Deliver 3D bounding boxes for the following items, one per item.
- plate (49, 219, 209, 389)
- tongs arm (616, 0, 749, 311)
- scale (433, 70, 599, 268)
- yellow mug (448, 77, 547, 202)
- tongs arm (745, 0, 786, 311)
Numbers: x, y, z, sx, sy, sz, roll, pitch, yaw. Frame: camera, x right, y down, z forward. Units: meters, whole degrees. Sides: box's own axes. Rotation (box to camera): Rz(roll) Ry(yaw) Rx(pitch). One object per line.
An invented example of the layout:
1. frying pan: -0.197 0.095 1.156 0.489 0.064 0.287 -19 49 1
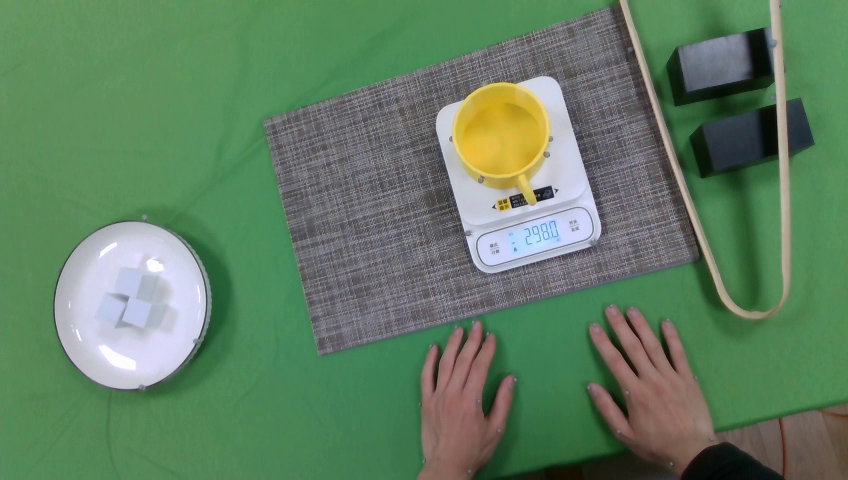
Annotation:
1. plate: -0.360 0.079 0.753 0.207 0.039 0.207 -1 86 9
2. tongs arm: 0.273 -0.107 0.660 0.028 0.028 0.386 -21 83 32
3. scale: 0.102 -0.080 0.685 0.148 0.031 0.200 -16 85 9
4. yellow mug: 0.086 -0.100 0.641 0.100 0.064 0.130 -26 84 6
5. tongs arm: 0.336 -0.120 0.610 0.050 0.026 0.384 -5 92 36
